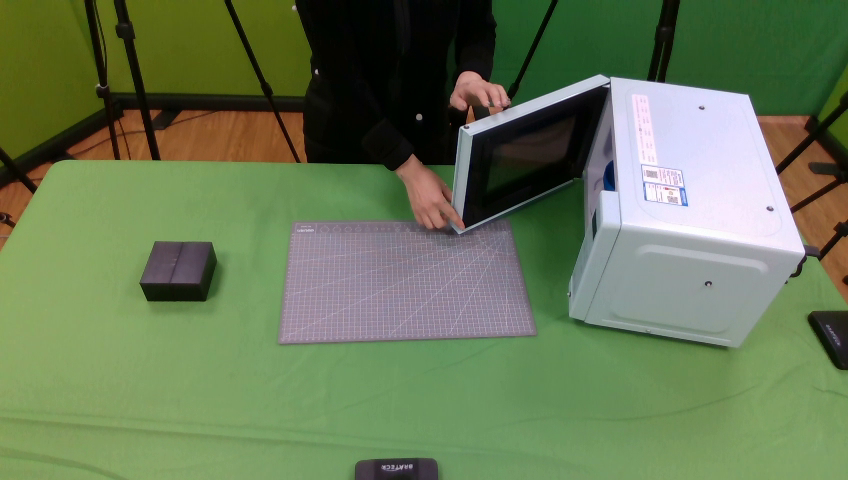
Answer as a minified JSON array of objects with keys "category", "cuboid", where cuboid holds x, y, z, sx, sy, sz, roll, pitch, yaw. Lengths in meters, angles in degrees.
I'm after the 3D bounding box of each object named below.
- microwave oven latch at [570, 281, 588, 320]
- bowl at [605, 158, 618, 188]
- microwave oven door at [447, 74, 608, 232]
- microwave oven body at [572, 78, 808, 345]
[{"category":"microwave oven latch","cuboid":[0.276,0.105,1.082,0.030,0.029,0.079,10,45,6]},{"category":"bowl","cuboid":[0.422,-0.094,1.195,0.151,0.077,0.150,4,48,-4]},{"category":"microwave oven door","cuboid":[0.207,-0.175,1.206,0.356,0.245,0.039,-25,53,-25]},{"category":"microwave oven body","cuboid":[0.456,-0.063,1.125,0.326,0.261,0.439,8,45,5]}]
